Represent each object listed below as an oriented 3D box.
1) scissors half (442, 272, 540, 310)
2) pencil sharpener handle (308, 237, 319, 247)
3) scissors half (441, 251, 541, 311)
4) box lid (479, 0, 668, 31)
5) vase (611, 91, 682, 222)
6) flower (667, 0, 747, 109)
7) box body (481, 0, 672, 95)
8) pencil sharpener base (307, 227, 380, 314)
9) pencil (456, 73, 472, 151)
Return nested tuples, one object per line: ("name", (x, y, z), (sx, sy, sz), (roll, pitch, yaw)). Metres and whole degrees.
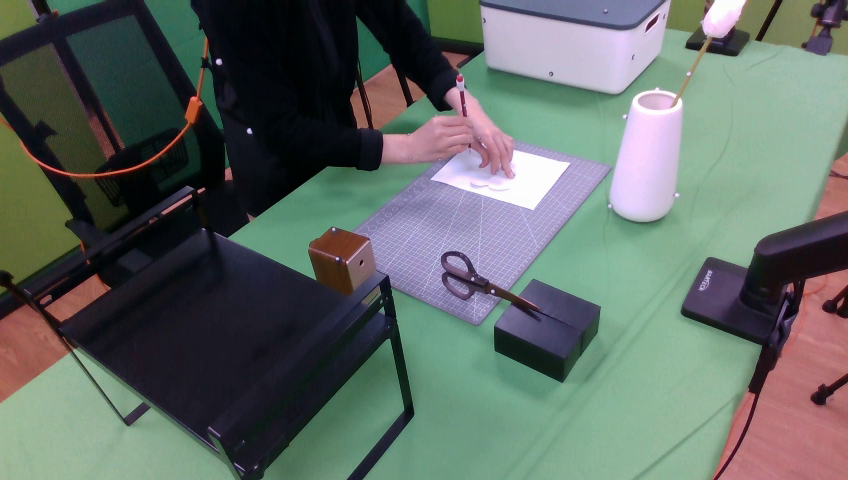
("scissors half", (0.089, 0.074, 0.833), (0.013, 0.040, 0.173), (-24, 23, -38))
("pencil sharpener handle", (-0.159, 0.017, 0.892), (0.030, 0.068, 0.036), (18, 61, 28))
("scissors half", (0.087, 0.056, 0.824), (0.173, 0.040, 0.013), (29, 44, 36))
("box lid", (0.335, -0.536, 1.331), (0.368, 0.015, 0.264), (23, 49, 30))
("vase", (0.348, -0.125, 0.935), (0.098, 0.201, 0.097), (-3, 40, 3))
("flower", (0.354, -0.187, 0.879), (0.038, 0.362, 0.044), (30, 48, 14))
("box body", (0.341, -0.480, 1.381), (0.361, 0.161, 0.255), (22, 48, 30))
("pencil sharpener base", (-0.116, 0.043, 0.875), (0.076, 0.107, 0.061), (18, 47, 27))
("pencil", (0.069, -0.208, 1.011), (0.012, 0.195, 0.012), (-4, 61, 8))
